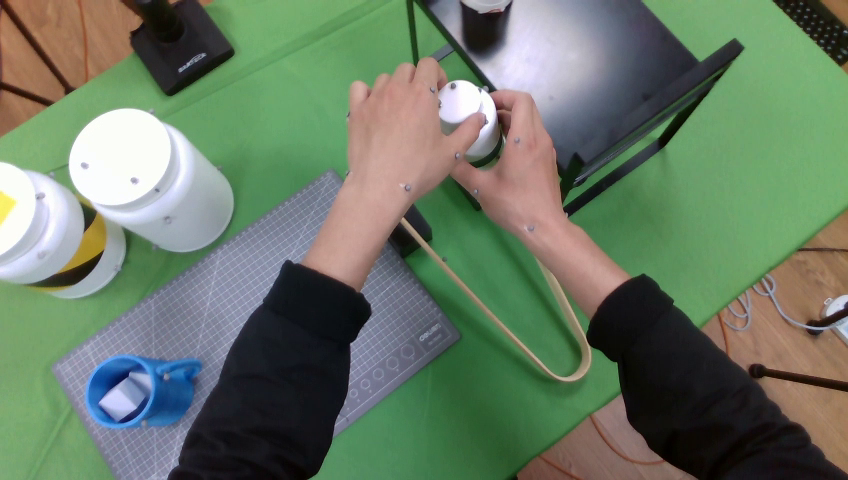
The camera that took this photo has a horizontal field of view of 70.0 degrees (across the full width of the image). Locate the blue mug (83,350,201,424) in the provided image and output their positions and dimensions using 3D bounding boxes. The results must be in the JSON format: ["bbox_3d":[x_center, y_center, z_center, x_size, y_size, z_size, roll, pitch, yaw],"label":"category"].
[{"bbox_3d":[-0.327,0.170,0.733,0.116,0.106,0.082,-29,76,-6],"label":"blue mug"}]

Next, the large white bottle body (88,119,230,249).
[{"bbox_3d":[-0.335,-0.071,0.754,0.130,0.185,0.130,0,75,2],"label":"large white bottle body"}]

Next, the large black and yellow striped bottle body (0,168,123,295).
[{"bbox_3d":[-0.477,-0.010,0.744,0.131,0.185,0.130,0,75,2],"label":"large black and yellow striped bottle body"}]

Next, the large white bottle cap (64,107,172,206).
[{"bbox_3d":[-0.339,-0.094,0.672,0.115,0.018,0.114,0,75,2],"label":"large white bottle cap"}]

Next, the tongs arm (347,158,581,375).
[{"bbox_3d":[0.050,0.030,0.757,0.051,0.026,0.385,-41,90,-10],"label":"tongs arm"}]

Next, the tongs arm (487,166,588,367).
[{"bbox_3d":[0.115,-0.018,0.768,0.028,0.028,0.387,-28,89,-13],"label":"tongs arm"}]

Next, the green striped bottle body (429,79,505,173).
[{"bbox_3d":[0.042,-0.115,0.596,0.063,0.120,0.063,-3,75,13],"label":"green striped bottle body"}]

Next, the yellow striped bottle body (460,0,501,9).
[{"bbox_3d":[0.063,-0.309,0.646,0.063,0.121,0.062,0,75,2],"label":"yellow striped bottle body"}]

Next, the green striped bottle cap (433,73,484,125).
[{"bbox_3d":[0.031,-0.128,0.546,0.044,0.020,0.044,-4,76,15],"label":"green striped bottle cap"}]

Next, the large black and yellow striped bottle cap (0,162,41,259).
[{"bbox_3d":[-0.482,-0.032,0.663,0.115,0.019,0.114,0,76,1],"label":"large black and yellow striped bottle cap"}]
